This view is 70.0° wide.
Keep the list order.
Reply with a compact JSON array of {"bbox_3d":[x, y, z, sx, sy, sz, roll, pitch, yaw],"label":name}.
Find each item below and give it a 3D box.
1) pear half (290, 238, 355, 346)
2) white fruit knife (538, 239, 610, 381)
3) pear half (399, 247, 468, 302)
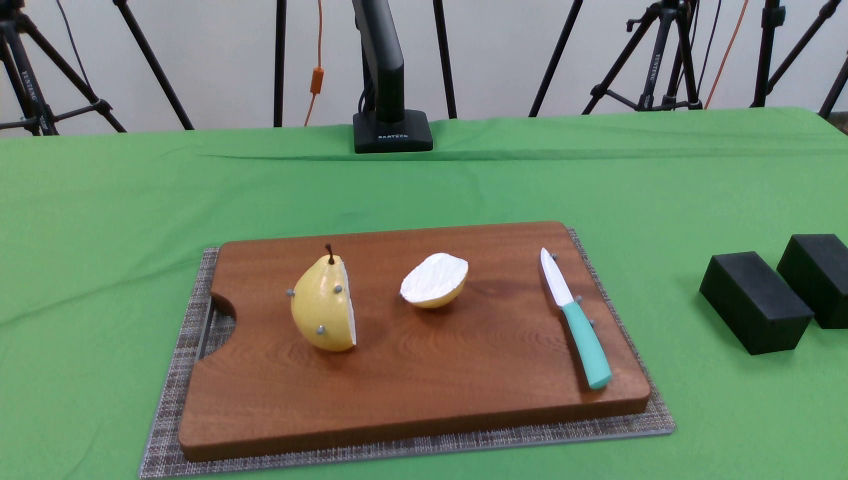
[{"bbox_3d":[-0.092,0.043,0.540,0.056,0.111,0.075,-9,36,-11],"label":"pear half"},{"bbox_3d":[0.143,0.059,0.600,0.027,0.016,0.205,9,35,-13],"label":"white fruit knife"},{"bbox_3d":[0.013,0.039,0.609,0.070,0.031,0.087,-9,23,12],"label":"pear half"}]
